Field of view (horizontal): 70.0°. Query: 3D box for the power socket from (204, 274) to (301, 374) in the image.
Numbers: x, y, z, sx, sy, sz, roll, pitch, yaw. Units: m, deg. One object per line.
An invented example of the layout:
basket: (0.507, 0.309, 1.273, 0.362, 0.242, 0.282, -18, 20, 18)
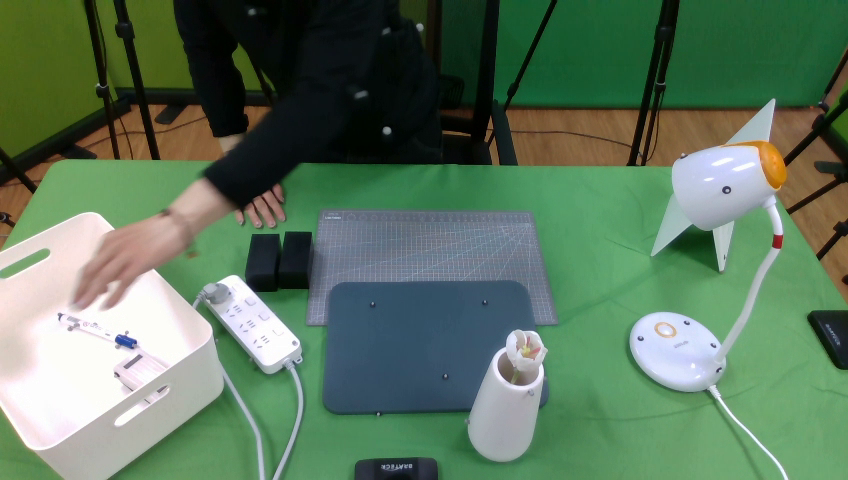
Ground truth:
power socket: (-0.296, 0.140, 1.035, 0.072, 0.033, 0.225, -33, 57, -29)

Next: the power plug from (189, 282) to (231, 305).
power plug: (-0.368, 0.097, 1.038, 0.072, 0.053, 0.035, -27, 55, -21)

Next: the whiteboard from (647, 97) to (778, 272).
whiteboard: (0.602, -0.079, 1.162, 0.144, 0.306, 0.216, 35, 51, 2)

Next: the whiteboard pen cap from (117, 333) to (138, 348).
whiteboard pen cap: (-0.489, 0.165, 0.997, 0.033, 0.018, 0.018, 17, 47, 10)

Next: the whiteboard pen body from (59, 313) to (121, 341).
whiteboard pen body: (-0.544, 0.148, 1.008, 0.140, 0.017, 0.017, 17, 47, 10)

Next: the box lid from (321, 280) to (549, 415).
box lid: (0.013, 0.174, 1.040, 0.372, 0.015, 0.261, 0, 47, -4)

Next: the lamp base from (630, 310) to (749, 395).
lamp base: (0.447, 0.143, 0.984, 0.161, 0.181, 0.178, -24, 55, -24)

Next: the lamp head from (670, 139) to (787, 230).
lamp head: (0.415, -0.078, 0.812, 0.113, 0.123, 0.112, 12, 70, -37)

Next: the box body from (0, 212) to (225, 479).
box body: (-0.506, 0.155, 0.915, 0.362, 0.161, 0.254, 35, 54, 26)

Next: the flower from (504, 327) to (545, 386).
flower: (0.114, 0.189, 0.790, 0.044, 0.363, 0.038, 33, 69, 18)

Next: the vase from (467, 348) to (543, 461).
vase: (0.116, 0.234, 0.860, 0.098, 0.201, 0.097, 1, 47, -1)

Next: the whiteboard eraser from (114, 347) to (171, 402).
whiteboard eraser: (-0.420, 0.215, 0.936, 0.112, 0.042, 0.055, 25, 48, 22)
